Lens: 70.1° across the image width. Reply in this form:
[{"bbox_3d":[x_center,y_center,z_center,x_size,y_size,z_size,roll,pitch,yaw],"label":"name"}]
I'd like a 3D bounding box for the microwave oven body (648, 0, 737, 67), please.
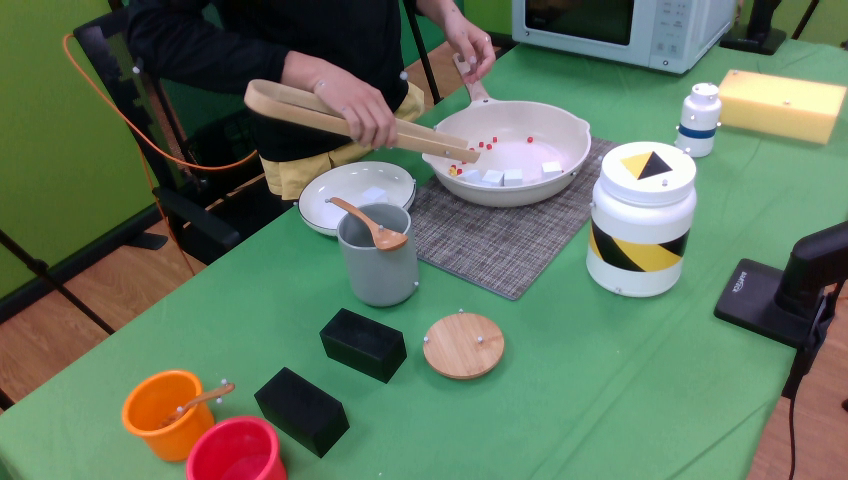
[{"bbox_3d":[0.475,-0.602,1.411,0.438,0.261,0.327,23,50,32],"label":"microwave oven body"}]

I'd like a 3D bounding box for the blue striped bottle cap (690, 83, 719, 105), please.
[{"bbox_3d":[0.481,-0.251,1.038,0.044,0.021,0.044,-5,40,5],"label":"blue striped bottle cap"}]

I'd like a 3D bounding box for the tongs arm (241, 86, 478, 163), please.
[{"bbox_3d":[-0.080,-0.166,0.920,0.391,0.027,0.028,9,43,-31],"label":"tongs arm"}]

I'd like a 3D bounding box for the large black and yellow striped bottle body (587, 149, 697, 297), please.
[{"bbox_3d":[0.298,-0.026,0.835,0.131,0.185,0.130,-4,41,4],"label":"large black and yellow striped bottle body"}]

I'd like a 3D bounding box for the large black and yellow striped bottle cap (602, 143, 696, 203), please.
[{"bbox_3d":[0.289,-0.088,0.779,0.115,0.019,0.114,-5,39,4],"label":"large black and yellow striped bottle cap"}]

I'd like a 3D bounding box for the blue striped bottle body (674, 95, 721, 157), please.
[{"bbox_3d":[0.486,-0.213,1.072,0.063,0.121,0.063,-4,41,4],"label":"blue striped bottle body"}]

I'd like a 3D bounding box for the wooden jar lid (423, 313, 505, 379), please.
[{"bbox_3d":[0.053,0.142,0.800,0.108,0.021,0.108,-5,39,4],"label":"wooden jar lid"}]

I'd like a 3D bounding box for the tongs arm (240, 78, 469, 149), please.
[{"bbox_3d":[-0.088,-0.185,0.938,0.388,0.026,0.050,11,39,-28],"label":"tongs arm"}]

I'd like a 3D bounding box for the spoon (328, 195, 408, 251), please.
[{"bbox_3d":[-0.083,-0.029,0.829,0.042,0.022,0.192,-31,42,-22],"label":"spoon"}]

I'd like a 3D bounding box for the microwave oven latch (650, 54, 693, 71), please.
[{"bbox_3d":[0.531,-0.386,1.301,0.078,0.029,0.030,26,51,33],"label":"microwave oven latch"}]

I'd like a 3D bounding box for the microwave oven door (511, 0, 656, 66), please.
[{"bbox_3d":[0.350,-0.539,1.349,0.353,0.245,0.039,24,50,31],"label":"microwave oven door"}]

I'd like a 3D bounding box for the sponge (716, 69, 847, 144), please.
[{"bbox_3d":[0.663,-0.256,1.142,0.205,0.061,0.118,19,48,28],"label":"sponge"}]

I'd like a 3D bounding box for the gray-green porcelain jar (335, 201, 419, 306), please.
[{"bbox_3d":[-0.064,0.024,0.872,0.106,0.127,0.105,-4,41,4],"label":"gray-green porcelain jar"}]

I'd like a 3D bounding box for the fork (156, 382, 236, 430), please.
[{"bbox_3d":[-0.262,0.189,0.690,0.018,0.206,0.028,49,43,-7],"label":"fork"}]

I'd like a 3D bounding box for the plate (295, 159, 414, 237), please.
[{"bbox_3d":[-0.118,-0.070,1.055,0.207,0.039,0.206,-5,40,5],"label":"plate"}]

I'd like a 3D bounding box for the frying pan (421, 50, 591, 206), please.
[{"bbox_3d":[0.127,-0.233,1.155,0.307,0.103,0.484,-10,49,-5],"label":"frying pan"}]
